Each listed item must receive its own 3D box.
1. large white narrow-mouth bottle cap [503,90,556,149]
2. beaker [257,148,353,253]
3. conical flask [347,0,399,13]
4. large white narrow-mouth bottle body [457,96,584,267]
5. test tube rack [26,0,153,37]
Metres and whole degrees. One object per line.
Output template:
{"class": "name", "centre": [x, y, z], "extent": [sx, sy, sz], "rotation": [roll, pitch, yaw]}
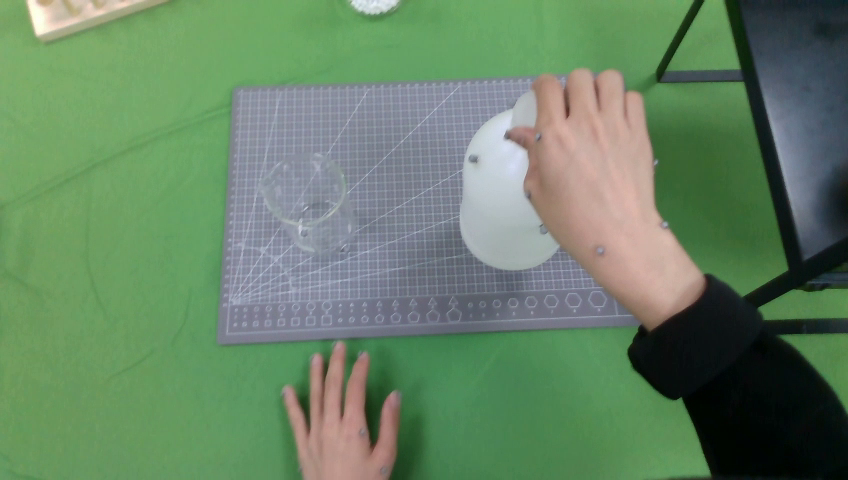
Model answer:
{"class": "large white narrow-mouth bottle cap", "centre": [0.075, -0.084, 0.428], "extent": [0.038, 0.024, 0.037], "rotation": [-1, 68, 2]}
{"class": "beaker", "centre": [-0.112, -0.034, 0.594], "extent": [0.084, 0.101, 0.073], "rotation": [7, 70, 3]}
{"class": "conical flask", "centre": [-0.062, -0.327, 0.688], "extent": [0.075, 0.122, 0.075], "rotation": [0, 70, 0]}
{"class": "large white narrow-mouth bottle body", "centre": [0.079, -0.052, 0.507], "extent": [0.102, 0.196, 0.101], "rotation": [-1, 68, 2]}
{"class": "test tube rack", "centre": [-0.358, -0.328, 0.707], "extent": [0.242, 0.086, 0.066], "rotation": [-23, 72, -8]}
